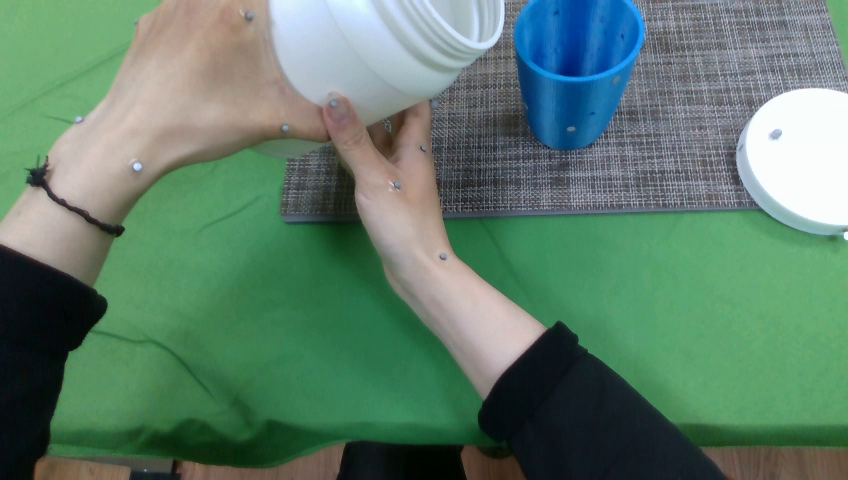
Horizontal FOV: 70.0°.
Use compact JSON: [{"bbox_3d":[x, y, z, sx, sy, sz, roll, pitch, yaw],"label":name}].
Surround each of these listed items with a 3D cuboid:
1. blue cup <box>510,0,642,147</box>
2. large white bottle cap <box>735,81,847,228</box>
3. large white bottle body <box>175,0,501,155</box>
[{"bbox_3d":[0.106,-0.120,0.441,0.092,0.101,0.092,-3,64,7],"label":"blue cup"},{"bbox_3d":[0.289,-0.064,0.442,0.115,0.018,0.114,-1,69,4],"label":"large white bottle cap"},{"bbox_3d":[-0.055,-0.141,0.391,0.184,0.132,0.129,-15,60,37],"label":"large white bottle body"}]
